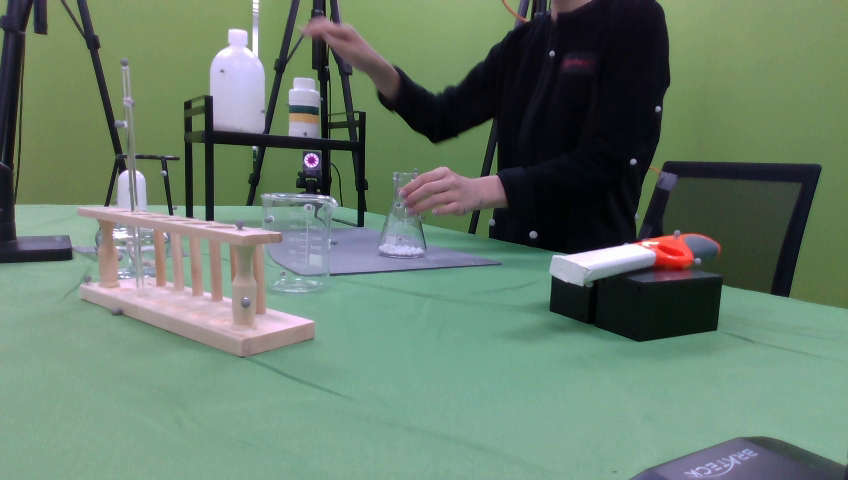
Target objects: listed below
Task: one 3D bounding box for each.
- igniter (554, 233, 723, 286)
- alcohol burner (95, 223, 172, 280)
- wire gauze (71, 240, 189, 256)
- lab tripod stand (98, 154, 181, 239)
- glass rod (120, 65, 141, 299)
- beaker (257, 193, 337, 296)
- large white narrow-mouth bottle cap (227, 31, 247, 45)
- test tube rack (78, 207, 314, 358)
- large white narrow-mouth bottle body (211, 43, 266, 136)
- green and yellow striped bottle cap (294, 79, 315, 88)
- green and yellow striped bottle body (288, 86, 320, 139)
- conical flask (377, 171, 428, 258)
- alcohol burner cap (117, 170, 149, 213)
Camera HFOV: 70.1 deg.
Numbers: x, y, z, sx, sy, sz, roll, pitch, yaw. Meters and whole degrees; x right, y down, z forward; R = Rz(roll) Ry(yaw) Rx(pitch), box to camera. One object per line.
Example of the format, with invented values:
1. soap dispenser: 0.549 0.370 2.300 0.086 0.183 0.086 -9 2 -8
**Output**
1. igniter: 0.214 0.015 0.570 0.278 0.025 0.057 -5 22 -44
2. alcohol burner: -0.320 -0.017 0.667 0.078 0.119 0.078 0 7 0
3. wire gauze: -0.399 0.013 0.820 0.126 0.011 0.121 -3 8 -37
4. lab tripod stand: -0.427 -0.066 0.942 0.148 0.131 0.148 1 6 0
5. glass rod: -0.249 -0.047 0.513 0.008 0.199 0.008 -1 4 0
6. beaker: -0.130 0.003 0.628 0.084 0.100 0.074 5 8 15
7. large white narrow-mouth bottle cap: -0.361 -0.388 1.166 0.038 0.024 0.037 1 7 0
8. test tube rack: -0.196 0.024 0.500 0.241 0.085 0.067 8 8 37
9. large white narrow-mouth bottle body: -0.361 -0.302 1.176 0.102 0.194 0.102 1 7 0
10. green and yellow striped bottle cap: -0.248 -0.323 1.256 0.045 0.020 0.045 3 9 0
11. green and yellow striped bottle body: -0.250 -0.272 1.261 0.063 0.119 0.063 3 7 0
12. conical flask: -0.029 -0.038 0.875 0.075 0.122 0.075 2 8 0
13. alcohol burner cap: -0.320 -0.052 0.661 0.034 0.048 0.034 -3 0 0
